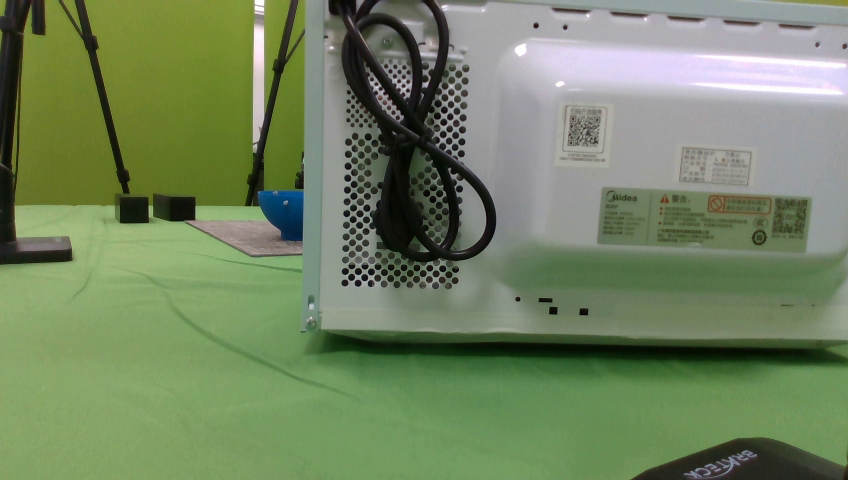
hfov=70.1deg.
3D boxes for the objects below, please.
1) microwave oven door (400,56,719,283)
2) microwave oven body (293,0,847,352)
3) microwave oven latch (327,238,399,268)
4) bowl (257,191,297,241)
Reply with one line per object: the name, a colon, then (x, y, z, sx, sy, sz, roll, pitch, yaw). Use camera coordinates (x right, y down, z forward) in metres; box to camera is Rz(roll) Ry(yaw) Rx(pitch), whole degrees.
microwave oven door: (0.155, -0.077, 0.698, 0.356, 0.243, 0.039, 2, 8, -5)
microwave oven body: (0.122, -0.055, 0.550, 0.442, 0.260, 0.325, 3, 7, -5)
microwave oven latch: (-0.069, 0.015, 0.694, 0.079, 0.029, 0.030, 3, 7, -3)
bowl: (-0.206, -0.041, 1.027, 0.151, 0.077, 0.151, 3, 8, 0)
